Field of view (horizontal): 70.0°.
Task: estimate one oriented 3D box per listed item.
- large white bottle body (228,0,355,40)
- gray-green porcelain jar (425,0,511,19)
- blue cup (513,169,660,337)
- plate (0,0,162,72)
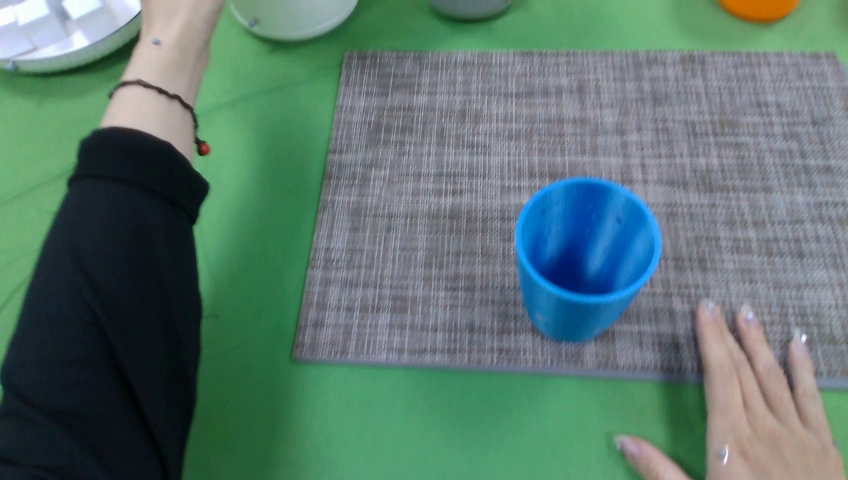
[{"bbox_3d":[-0.136,-0.290,0.538,0.130,0.186,0.129,-1,61,3],"label":"large white bottle body"},{"bbox_3d":[0.041,-0.280,0.557,0.106,0.127,0.105,-1,61,3],"label":"gray-green porcelain jar"},{"bbox_3d":[0.100,0.019,0.401,0.092,0.101,0.092,-2,61,4],"label":"blue cup"},{"bbox_3d":[-0.359,-0.243,0.610,0.207,0.039,0.206,-1,61,3],"label":"plate"}]
